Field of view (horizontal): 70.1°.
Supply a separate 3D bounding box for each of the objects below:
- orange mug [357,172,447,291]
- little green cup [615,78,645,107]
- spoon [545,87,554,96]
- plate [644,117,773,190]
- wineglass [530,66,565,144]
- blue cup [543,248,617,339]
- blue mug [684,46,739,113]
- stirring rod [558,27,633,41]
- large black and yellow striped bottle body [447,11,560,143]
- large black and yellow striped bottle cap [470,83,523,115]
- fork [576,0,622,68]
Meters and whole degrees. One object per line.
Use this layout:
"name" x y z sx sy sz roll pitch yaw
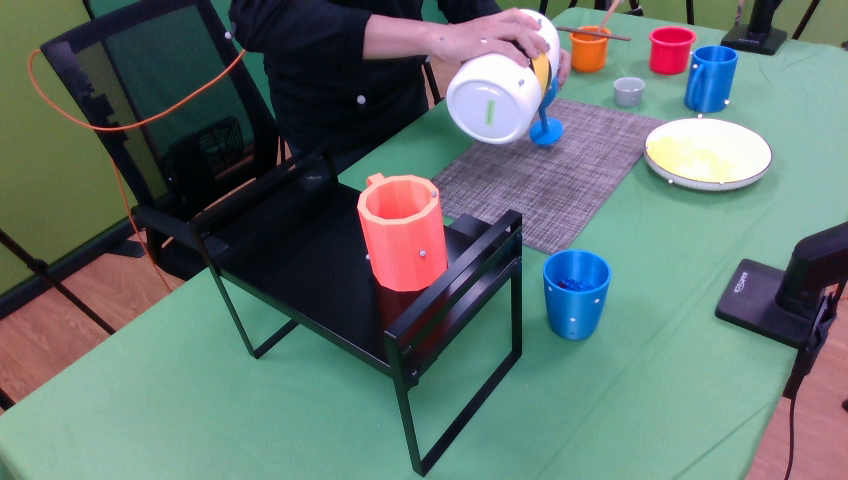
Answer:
"orange mug" -0.030 -0.018 0.669 0.084 0.101 0.125 -23 47 -16
"little green cup" 0.426 -0.306 1.257 0.061 0.039 0.061 -4 40 4
"spoon" 0.227 -0.285 1.269 0.041 0.022 0.194 3 37 44
"plate" 0.495 -0.148 1.063 0.209 0.038 0.208 -5 40 4
"wineglass" 0.212 -0.253 1.080 0.073 0.173 0.073 -8 57 13
"blue cup" 0.199 0.076 0.797 0.092 0.100 0.092 -4 39 4
"blue mug" 0.556 -0.310 1.190 0.117 0.106 0.081 -32 46 -25
"stirring rod" 0.381 -0.463 1.356 0.175 0.006 0.014 21 47 30
"large black and yellow striped bottle body" 0.128 -0.252 0.919 0.130 0.131 0.184 14 54 23
"large black and yellow striped bottle cap" 0.157 -0.308 1.316 0.115 0.019 0.114 -7 39 6
"fork" 0.409 -0.484 1.381 0.028 0.019 0.207 37 101 46
